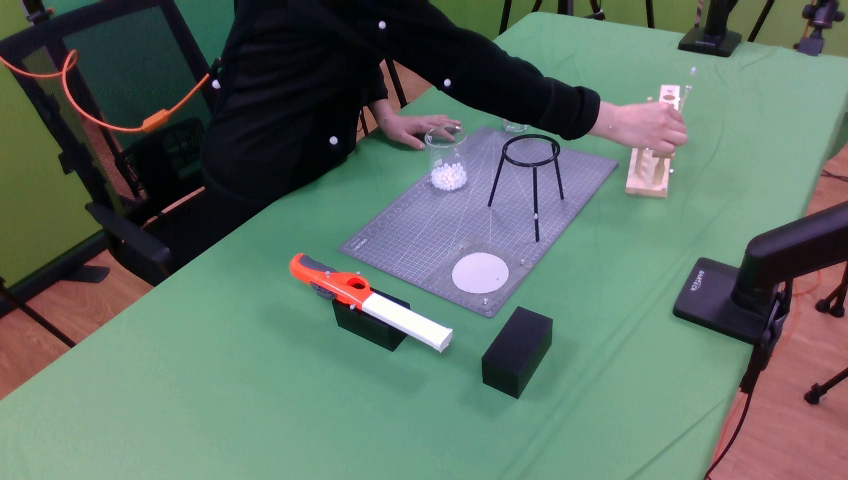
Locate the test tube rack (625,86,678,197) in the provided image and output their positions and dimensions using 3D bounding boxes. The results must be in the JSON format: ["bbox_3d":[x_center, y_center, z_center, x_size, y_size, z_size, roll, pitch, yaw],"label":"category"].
[{"bbox_3d":[0.412,-0.184,1.088,0.066,0.085,0.242,9,43,18],"label":"test tube rack"}]

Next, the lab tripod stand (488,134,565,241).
[{"bbox_3d":[0.169,-0.093,0.972,0.148,0.132,0.147,-5,41,5],"label":"lab tripod stand"}]

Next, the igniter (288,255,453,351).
[{"bbox_3d":[-0.082,0.079,0.818,0.274,0.025,0.057,23,46,27],"label":"igniter"}]

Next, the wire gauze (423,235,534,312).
[{"bbox_3d":[0.082,0.049,0.914,0.120,0.011,0.125,26,53,32],"label":"wire gauze"}]

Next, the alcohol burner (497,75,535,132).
[{"bbox_3d":[0.184,-0.278,1.210,0.078,0.119,0.077,-3,43,4],"label":"alcohol burner"}]

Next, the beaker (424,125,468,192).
[{"bbox_3d":[0.043,-0.144,1.078,0.073,0.100,0.084,28,51,34],"label":"beaker"}]

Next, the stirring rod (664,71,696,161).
[{"bbox_3d":[0.411,-0.196,0.981,0.014,0.177,0.006,10,51,14],"label":"stirring rod"}]

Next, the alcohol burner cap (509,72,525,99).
[{"bbox_3d":[0.181,-0.306,1.186,0.034,0.048,0.033,-7,39,6],"label":"alcohol burner cap"}]
